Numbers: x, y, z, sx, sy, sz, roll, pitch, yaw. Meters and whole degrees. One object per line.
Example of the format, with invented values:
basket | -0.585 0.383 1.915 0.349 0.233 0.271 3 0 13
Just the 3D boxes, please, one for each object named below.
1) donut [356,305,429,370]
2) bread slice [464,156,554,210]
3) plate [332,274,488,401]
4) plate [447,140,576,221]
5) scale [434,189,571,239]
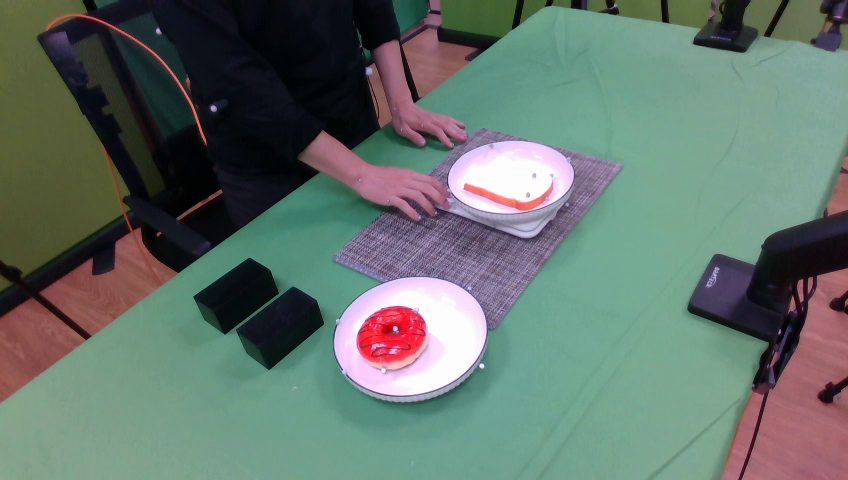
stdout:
donut | -0.041 0.127 0.798 0.099 0.048 0.098 -7 40 7
bread slice | 0.148 -0.095 0.998 0.130 0.019 0.105 25 51 32
plate | -0.017 0.130 0.808 0.207 0.039 0.206 -4 41 4
plate | 0.143 -0.094 0.995 0.209 0.038 0.208 -4 41 4
scale | 0.132 -0.075 1.025 0.199 0.032 0.149 22 48 30
